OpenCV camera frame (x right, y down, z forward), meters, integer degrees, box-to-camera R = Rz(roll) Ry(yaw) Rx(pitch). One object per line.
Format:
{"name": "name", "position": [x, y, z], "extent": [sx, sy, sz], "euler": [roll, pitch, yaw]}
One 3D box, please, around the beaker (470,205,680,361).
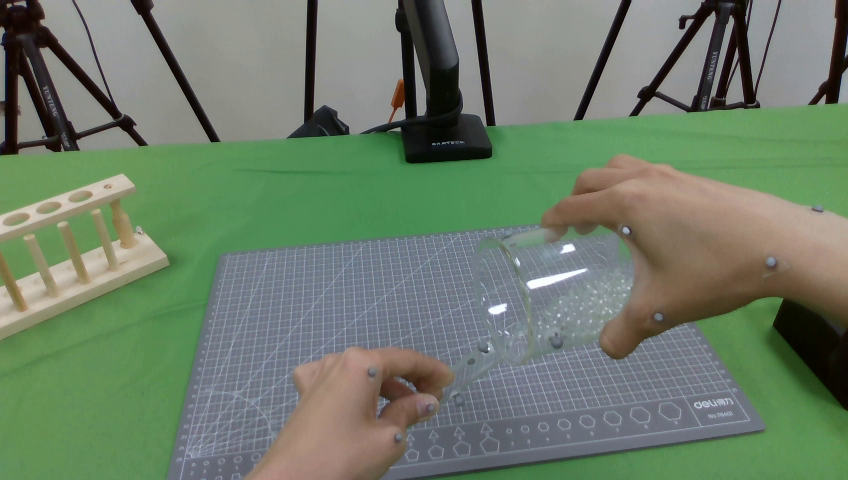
{"name": "beaker", "position": [0.087, 0.024, 0.351], "extent": [0.100, 0.084, 0.073], "euler": [-12, 43, -15]}

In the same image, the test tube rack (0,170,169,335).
{"name": "test tube rack", "position": [-0.382, 0.023, 0.572], "extent": [0.242, 0.086, 0.066], "euler": [-28, 45, -32]}

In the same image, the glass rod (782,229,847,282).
{"name": "glass rod", "position": [0.374, 0.046, 0.504], "extent": [0.008, 0.008, 0.197], "euler": [-11, 37, -13]}

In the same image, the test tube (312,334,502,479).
{"name": "test tube", "position": [-0.013, 0.107, 0.379], "extent": [0.150, 0.017, 0.017], "euler": [-39, 37, 12]}
